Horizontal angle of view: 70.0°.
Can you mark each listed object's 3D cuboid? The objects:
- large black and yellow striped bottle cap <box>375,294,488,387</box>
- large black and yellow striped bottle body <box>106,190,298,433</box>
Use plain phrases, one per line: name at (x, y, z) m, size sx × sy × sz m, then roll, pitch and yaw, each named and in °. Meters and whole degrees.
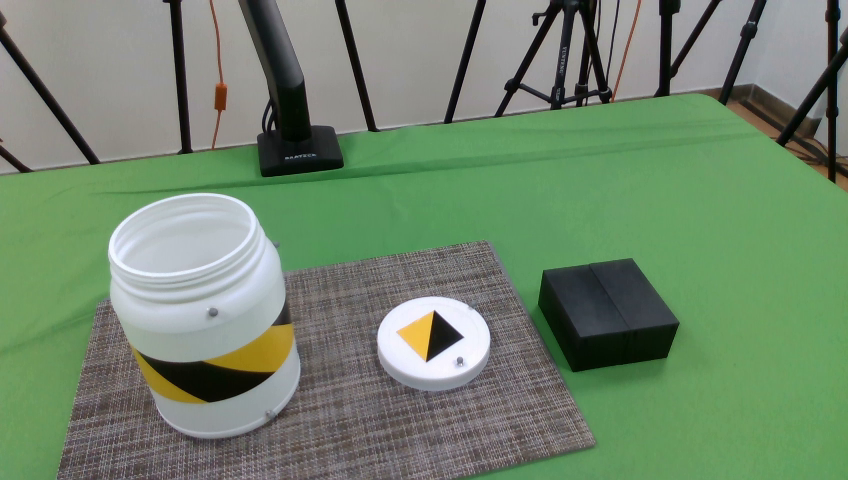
large black and yellow striped bottle cap at (0.007, 0.098, 0.612) m, size 0.115 × 0.019 × 0.114 m, roll -1°, pitch 38°, yaw 1°
large black and yellow striped bottle body at (-0.185, 0.062, 0.520) m, size 0.131 × 0.185 × 0.129 m, roll 0°, pitch 38°, yaw 0°
